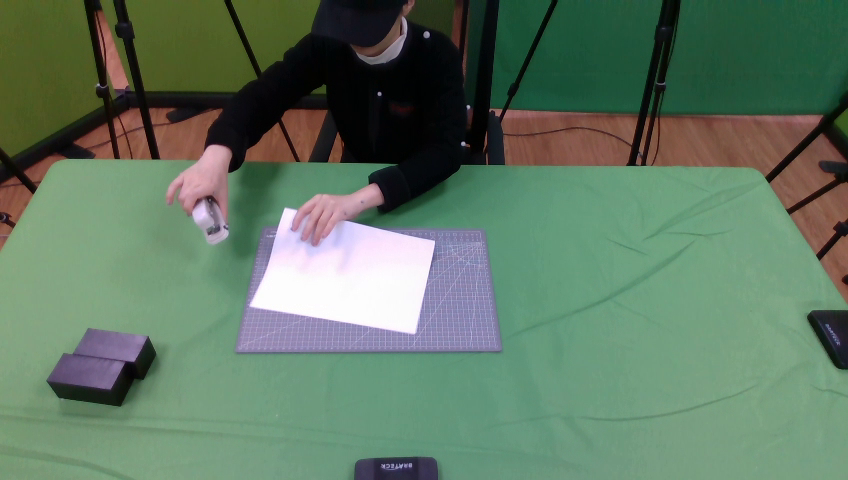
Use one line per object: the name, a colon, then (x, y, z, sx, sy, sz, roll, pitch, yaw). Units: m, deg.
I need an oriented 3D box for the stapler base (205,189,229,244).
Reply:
stapler base: (-0.391, -0.048, 1.104, 0.041, 0.024, 0.129, -28, 54, -5)

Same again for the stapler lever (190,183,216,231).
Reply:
stapler lever: (-0.399, -0.062, 1.085, 0.027, 0.040, 0.117, -28, 54, -5)
